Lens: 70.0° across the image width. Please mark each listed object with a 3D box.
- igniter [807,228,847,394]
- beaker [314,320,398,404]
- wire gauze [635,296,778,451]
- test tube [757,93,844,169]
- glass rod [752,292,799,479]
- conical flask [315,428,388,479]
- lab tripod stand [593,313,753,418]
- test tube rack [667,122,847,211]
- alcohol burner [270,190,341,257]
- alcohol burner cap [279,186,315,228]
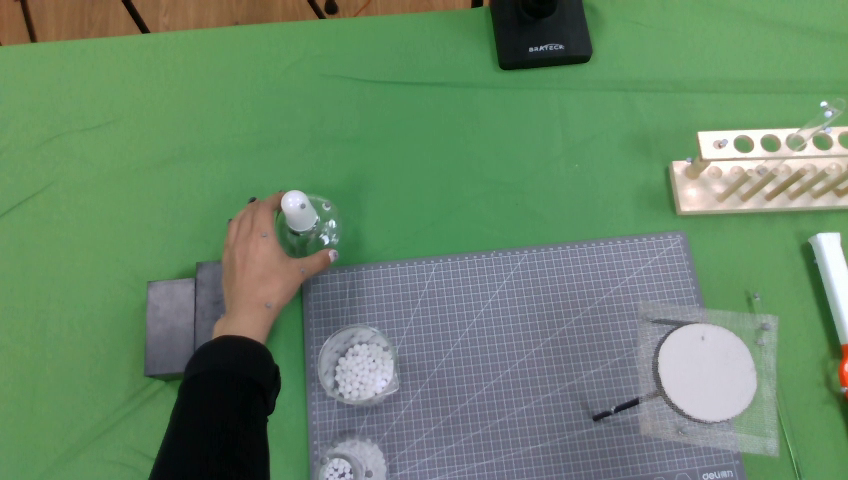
[{"bbox_3d":[0.473,0.119,0.663,0.057,0.025,0.274,-1,72,-11],"label":"igniter"},{"bbox_3d":[-0.062,0.129,0.615,0.084,0.101,0.074,29,74,8],"label":"beaker"},{"bbox_3d":[0.249,0.115,0.533,0.125,0.011,0.121,8,74,3],"label":"wire gauze"},{"bbox_3d":[0.401,-0.112,0.653,0.017,0.151,0.017,-1,72,2],"label":"test tube"},{"bbox_3d":[0.383,0.155,0.661,0.008,0.008,0.198,-4,75,-2],"label":"glass rod"},{"bbox_3d":[-0.074,0.216,0.575,0.075,0.122,0.075,0,72,0],"label":"conical flask"},{"bbox_3d":[0.245,0.135,0.597,0.148,0.132,0.147,0,74,0],"label":"lab tripod stand"},{"bbox_3d":[0.419,-0.084,0.696,0.242,0.085,0.066,-2,72,-1],"label":"test tube rack"},{"bbox_3d":[-0.132,-0.024,0.658,0.078,0.120,0.077,0,73,0],"label":"alcohol burner"},{"bbox_3d":[-0.132,-0.037,0.625,0.034,0.048,0.033,1,66,-1],"label":"alcohol burner cap"}]
